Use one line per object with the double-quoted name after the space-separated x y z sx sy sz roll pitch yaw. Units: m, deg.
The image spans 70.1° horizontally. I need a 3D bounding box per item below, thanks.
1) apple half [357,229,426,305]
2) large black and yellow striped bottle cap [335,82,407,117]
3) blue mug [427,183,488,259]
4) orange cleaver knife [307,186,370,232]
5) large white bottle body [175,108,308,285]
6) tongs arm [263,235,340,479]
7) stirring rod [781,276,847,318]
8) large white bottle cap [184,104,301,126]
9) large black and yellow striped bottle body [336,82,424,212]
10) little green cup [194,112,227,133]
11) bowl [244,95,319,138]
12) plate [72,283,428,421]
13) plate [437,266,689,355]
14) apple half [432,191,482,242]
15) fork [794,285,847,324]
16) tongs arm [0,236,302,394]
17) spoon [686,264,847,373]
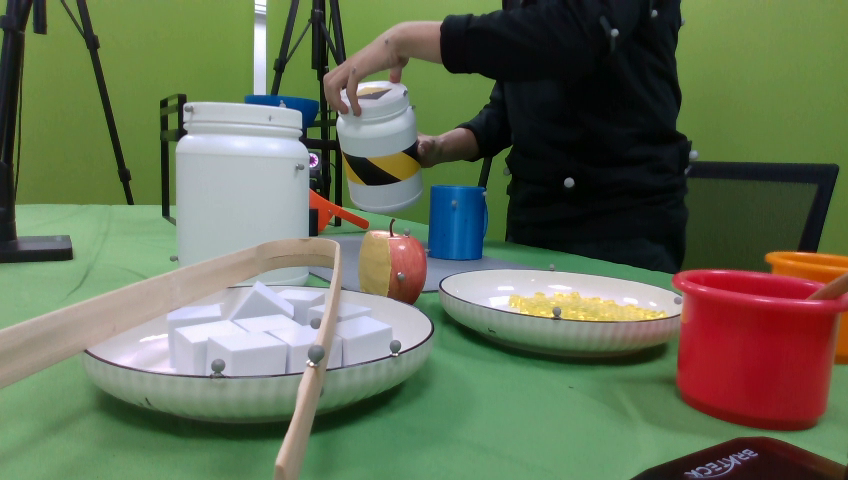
-0.026 0.028 0.570 0.053 0.074 0.080 2 2 -28 "apple half"
-0.084 -0.224 0.956 0.115 0.019 0.115 -5 32 3 "large black and yellow striped bottle cap"
0.059 -0.031 0.907 0.082 0.106 0.117 9 9 42 "blue mug"
-0.196 -0.056 1.140 0.212 0.077 0.012 29 0 -34 "orange cleaver knife"
-0.188 -0.042 0.630 0.131 0.184 0.130 2 8 0 "large white bottle body"
-0.074 0.039 0.349 0.051 0.026 0.384 -2 9 -3 "tongs arm"
0.344 0.019 0.461 0.014 0.006 0.176 -13 -27 -30 "stirring rod"
-0.184 -0.126 0.618 0.115 0.018 0.115 2 8 0 "large white bottle cap"
-0.073 -0.155 1.002 0.131 0.184 0.130 -5 33 4 "large black and yellow striped bottle body"
-0.412 -0.228 1.171 0.061 0.038 0.061 2 8 0 "little green cup"
-0.293 -0.251 1.249 0.151 0.077 0.151 2 8 0 "bowl"
-0.102 0.066 0.381 0.208 0.039 0.207 2 7 0 "plate"
0.114 0.057 0.517 0.209 0.038 0.209 3 7 0 "plate"
0.048 -0.036 0.906 0.081 0.081 0.033 2 14 1 "apple half"
0.332 0.018 0.443 0.028 0.018 0.207 -1 -36 -15 "fork"
-0.158 0.038 0.351 0.028 0.028 0.388 -3 8 12 "tongs arm"
0.215 0.032 0.328 0.042 0.021 0.193 -3 -35 -26 "spoon"
